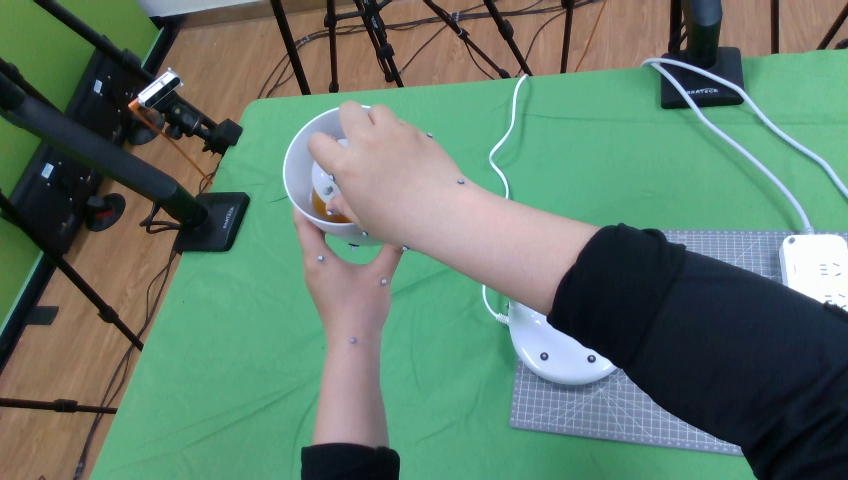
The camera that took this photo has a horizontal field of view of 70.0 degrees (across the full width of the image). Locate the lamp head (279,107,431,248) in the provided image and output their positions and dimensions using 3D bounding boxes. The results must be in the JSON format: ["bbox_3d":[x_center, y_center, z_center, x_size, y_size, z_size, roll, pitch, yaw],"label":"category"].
[{"bbox_3d":[-0.053,-0.042,0.544,0.112,0.124,0.111,-5,68,12],"label":"lamp head"}]

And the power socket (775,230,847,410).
[{"bbox_3d":[0.470,0.086,0.719,0.072,0.033,0.225,0,59,18],"label":"power socket"}]

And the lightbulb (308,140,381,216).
[{"bbox_3d":[-0.062,-0.046,0.521,0.059,0.108,0.059,-2,75,7],"label":"lightbulb"}]

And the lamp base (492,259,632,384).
[{"bbox_3d":[0.157,0.075,0.744,0.178,0.182,0.159,-6,57,19],"label":"lamp base"}]
